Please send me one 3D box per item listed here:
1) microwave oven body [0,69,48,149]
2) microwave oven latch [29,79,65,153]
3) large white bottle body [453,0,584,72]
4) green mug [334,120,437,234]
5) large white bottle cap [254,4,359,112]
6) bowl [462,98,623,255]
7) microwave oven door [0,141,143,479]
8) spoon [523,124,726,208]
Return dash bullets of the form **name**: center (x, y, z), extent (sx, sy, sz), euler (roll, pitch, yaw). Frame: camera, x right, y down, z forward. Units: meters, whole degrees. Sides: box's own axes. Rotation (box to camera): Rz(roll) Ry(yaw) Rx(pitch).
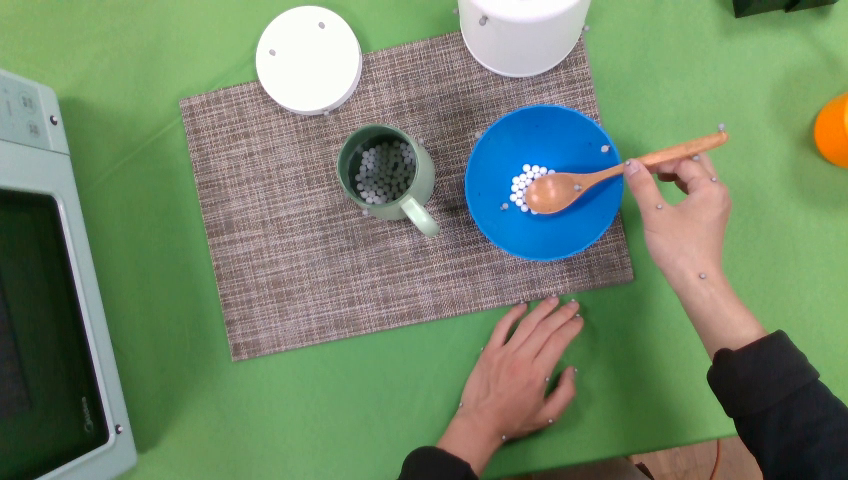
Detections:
- **microwave oven body**: center (-0.535, 0.073, 0.582), extent (0.326, 0.260, 0.441), euler (-14, 90, 5)
- **microwave oven latch**: center (-0.424, -0.134, 0.667), extent (0.030, 0.029, 0.079), euler (-14, 90, 5)
- **large white bottle body**: center (0.088, -0.247, 0.559), extent (0.130, 0.185, 0.130), euler (0, 86, 6)
- **green mug**: center (-0.030, -0.059, 0.612), extent (0.092, 0.105, 0.125), euler (-39, 87, 4)
- **large white bottle cap**: center (-0.129, -0.199, 0.663), extent (0.115, 0.018, 0.114), euler (0, 90, 5)
- **bowl**: center (0.115, -0.060, 0.612), extent (0.151, 0.077, 0.151), euler (0, 91, 6)
- **microwave oven door**: center (-0.384, 0.078, 0.564), extent (0.039, 0.244, 0.355), euler (-14, 89, 6)
- **spoon**: center (0.180, -0.070, 0.568), extent (0.193, 0.022, 0.041), euler (-17, 74, 39)
